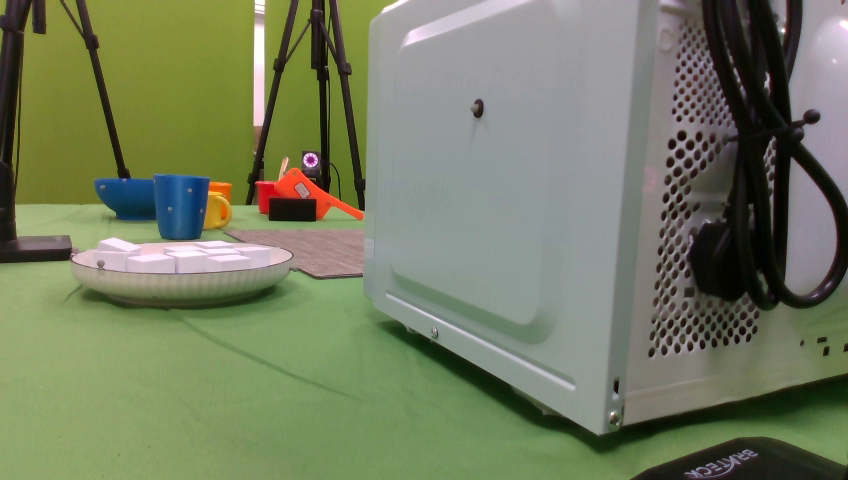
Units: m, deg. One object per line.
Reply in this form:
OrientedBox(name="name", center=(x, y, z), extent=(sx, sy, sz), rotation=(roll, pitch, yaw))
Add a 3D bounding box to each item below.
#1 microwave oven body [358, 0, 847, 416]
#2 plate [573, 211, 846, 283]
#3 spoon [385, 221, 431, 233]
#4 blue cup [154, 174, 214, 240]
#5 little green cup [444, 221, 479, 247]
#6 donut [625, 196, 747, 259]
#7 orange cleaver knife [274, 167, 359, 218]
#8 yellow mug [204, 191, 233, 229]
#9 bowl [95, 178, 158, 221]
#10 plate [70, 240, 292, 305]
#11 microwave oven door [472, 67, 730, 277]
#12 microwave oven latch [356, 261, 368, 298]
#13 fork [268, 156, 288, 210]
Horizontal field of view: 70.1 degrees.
OrientedBox(name="microwave oven body", center=(0.211, -0.047, 0.474), extent=(0.444, 0.260, 0.324), rotation=(-1, 7, -28))
OrientedBox(name="plate", center=(0.233, 0.003, 0.514), extent=(0.209, 0.038, 0.209), rotation=(1, 8, 0))
OrientedBox(name="spoon", center=(-0.024, -0.029, 1.188), extent=(0.041, 0.021, 0.194), rotation=(-14, -1, 22))
OrientedBox(name="blue cup", center=(-0.391, -0.053, 0.978), extent=(0.093, 0.100, 0.092), rotation=(3, 6, 0))
OrientedBox(name="little green cup", center=(0.064, -0.011, 1.035), extent=(0.061, 0.038, 0.061), rotation=(1, 10, 0))
OrientedBox(name="donut", center=(0.223, -0.009, 0.519), extent=(0.099, 0.048, 0.099), rotation=(9, 10, -1))
OrientedBox(name="orange cleaver knife", center=(-0.238, -0.091, 1.381), extent=(0.212, 0.077, 0.012), rotation=(31, 0, -19))
OrientedBox(name="yellow mug", center=(-0.415, -0.057, 1.132), extent=(0.130, 0.064, 0.100), rotation=(6, 8, 16))
OrientedBox(name="bowl", center=(-0.576, -0.081, 1.217), extent=(0.151, 0.077, 0.151), rotation=(3, 8, 0))
OrientedBox(name="plate", center=(-0.242, 0.031, 0.618), extent=(0.208, 0.039, 0.207), rotation=(2, 8, 0))
OrientedBox(name="microwave oven door", center=(0.213, -0.096, 0.820), extent=(0.039, 0.243, 0.354), rotation=(-6, 11, -44))
OrientedBox(name="microwave oven latch", center=(-0.019, 0.033, 0.529), extent=(0.079, 0.029, 0.030), rotation=(0, 7, -25))
OrientedBox(name="fork", center=(-0.360, -0.144, 1.508), extent=(0.028, 0.018, 0.207), rotation=(1, 49, 0))
